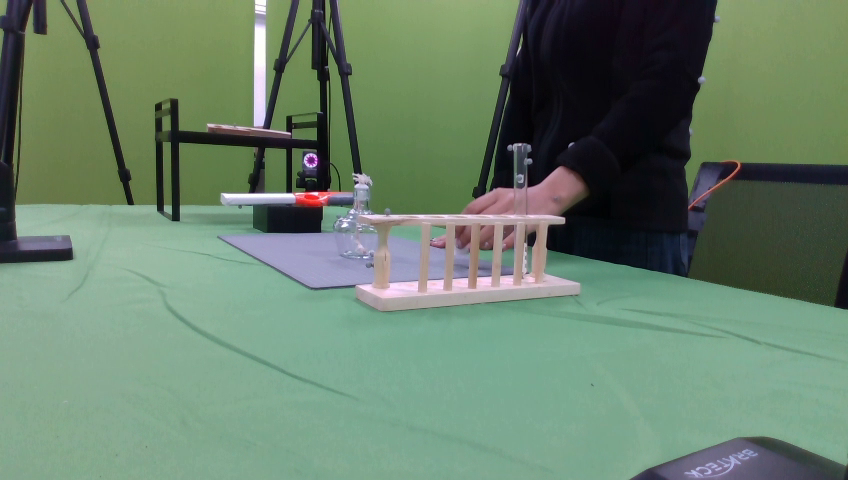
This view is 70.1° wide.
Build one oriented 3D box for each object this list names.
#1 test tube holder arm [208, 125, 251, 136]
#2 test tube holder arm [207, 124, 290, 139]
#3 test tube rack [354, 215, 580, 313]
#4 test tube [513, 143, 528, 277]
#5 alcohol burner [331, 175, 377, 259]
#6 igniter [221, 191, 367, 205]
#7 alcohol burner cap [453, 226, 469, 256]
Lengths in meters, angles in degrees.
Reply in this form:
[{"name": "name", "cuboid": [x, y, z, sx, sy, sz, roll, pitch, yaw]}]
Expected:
[{"name": "test tube holder arm", "cuboid": [-0.418, -0.234, 1.299, 0.088, 0.015, 0.010, 1, 41, -32]}, {"name": "test tube holder arm", "cuboid": [-0.381, -0.237, 1.327, 0.179, 0.015, 0.013, 0, 42, -32]}, {"name": "test tube rack", "cuboid": [0.053, 0.019, 0.635, 0.243, 0.085, 0.066, -1, 8, -29]}, {"name": "test tube", "cuboid": [0.108, -0.033, 0.677, 0.017, 0.150, 0.017, -1, 8, 1]}, {"name": "alcohol burner", "cuboid": [-0.091, -0.033, 0.855, 0.078, 0.119, 0.078, 4, 7, 0]}, {"name": "igniter", "cuboid": [-0.239, -0.078, 1.149, 0.278, 0.025, 0.057, -3, 20, -31]}, {"name": "alcohol burner cap", "cuboid": [0.046, -0.001, 0.819, 0.034, 0.048, 0.034, -2, 4, 0]}]
